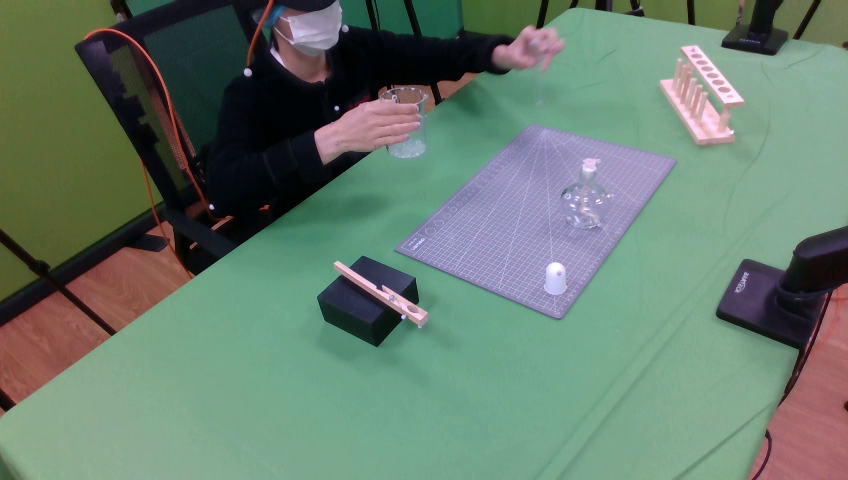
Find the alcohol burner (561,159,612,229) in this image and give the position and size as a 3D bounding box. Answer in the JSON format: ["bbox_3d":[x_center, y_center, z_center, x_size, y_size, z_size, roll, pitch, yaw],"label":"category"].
[{"bbox_3d":[0.257,-0.077,0.951,0.078,0.119,0.077,-3,40,3],"label":"alcohol burner"}]

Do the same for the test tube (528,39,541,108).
[{"bbox_3d":[0.201,-0.298,1.095,0.017,0.151,0.017,-7,53,10],"label":"test tube"}]

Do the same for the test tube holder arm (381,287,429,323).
[{"bbox_3d":[-0.028,0.087,0.807,0.087,0.015,0.010,25,42,33],"label":"test tube holder arm"}]

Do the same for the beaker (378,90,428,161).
[{"bbox_3d":[-0.030,-0.190,1.004,0.084,0.100,0.073,-15,38,-14],"label":"beaker"}]

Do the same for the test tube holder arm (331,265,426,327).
[{"bbox_3d":[-0.066,0.074,0.828,0.177,0.015,0.013,25,42,33],"label":"test tube holder arm"}]

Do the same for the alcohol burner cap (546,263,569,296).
[{"bbox_3d":[0.191,0.053,0.862,0.034,0.048,0.033,-5,40,4],"label":"alcohol burner cap"}]

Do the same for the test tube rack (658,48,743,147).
[{"bbox_3d":[0.532,-0.284,1.181,0.067,0.085,0.241,-5,40,4],"label":"test tube rack"}]
